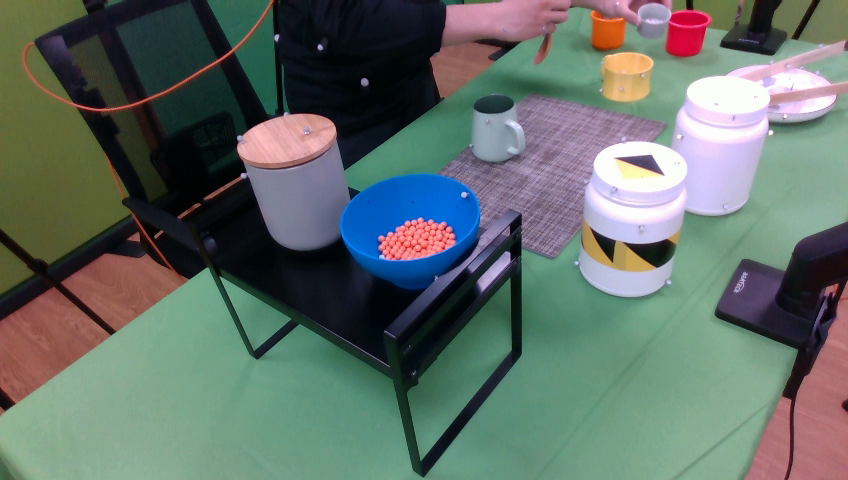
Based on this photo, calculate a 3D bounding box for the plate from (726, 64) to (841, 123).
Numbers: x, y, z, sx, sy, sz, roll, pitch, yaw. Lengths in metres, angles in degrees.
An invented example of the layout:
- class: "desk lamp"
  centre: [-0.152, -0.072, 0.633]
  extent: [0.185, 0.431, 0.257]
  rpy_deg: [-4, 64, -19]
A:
- class: "plate"
  centre: [0.694, -0.282, 1.189]
  extent: [0.207, 0.039, 0.206]
  rpy_deg: [-4, 40, 4]

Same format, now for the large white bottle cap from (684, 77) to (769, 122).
- class: "large white bottle cap"
  centre: [0.448, -0.209, 0.898]
  extent: [0.115, 0.018, 0.114]
  rpy_deg: [-4, 40, 4]

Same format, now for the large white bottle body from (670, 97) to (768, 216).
- class: "large white bottle body"
  centre: [0.458, -0.146, 0.952]
  extent: [0.130, 0.185, 0.130]
  rpy_deg: [-4, 40, 4]

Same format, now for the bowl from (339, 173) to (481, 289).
- class: "bowl"
  centre: [-0.011, 0.001, 0.660]
  extent: [0.151, 0.077, 0.150]
  rpy_deg: [-5, 41, 5]

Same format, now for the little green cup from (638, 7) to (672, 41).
- class: "little green cup"
  centre: [0.443, -0.415, 1.166]
  extent: [0.061, 0.039, 0.061]
  rpy_deg: [-4, 53, 6]

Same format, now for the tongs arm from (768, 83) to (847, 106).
- class: "tongs arm"
  centre: [0.738, -0.281, 1.134]
  extent: [0.388, 0.028, 0.028]
  rpy_deg: [-9, 47, -5]

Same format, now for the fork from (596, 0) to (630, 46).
- class: "fork"
  centre: [0.481, -0.556, 1.452]
  extent: [0.028, 0.019, 0.207]
  rpy_deg: [40, 103, 38]

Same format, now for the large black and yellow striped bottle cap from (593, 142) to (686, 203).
- class: "large black and yellow striped bottle cap"
  centre: [0.280, -0.090, 0.786]
  extent: [0.115, 0.019, 0.114]
  rpy_deg: [-5, 41, 5]

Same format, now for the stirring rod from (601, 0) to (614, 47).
- class: "stirring rod"
  centre: [0.439, -0.552, 1.463]
  extent: [0.014, 0.006, 0.175]
  rpy_deg: [-7, 83, 3]

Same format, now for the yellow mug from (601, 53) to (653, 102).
- class: "yellow mug"
  centre: [0.423, -0.354, 1.292]
  extent: [0.100, 0.064, 0.129]
  rpy_deg: [-23, 42, -16]

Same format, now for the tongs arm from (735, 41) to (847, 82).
- class: "tongs arm"
  centre: [0.712, -0.332, 1.194]
  extent: [0.386, 0.026, 0.050]
  rpy_deg: [-18, 45, -16]

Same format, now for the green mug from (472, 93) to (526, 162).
- class: "green mug"
  centre: [0.144, -0.202, 1.122]
  extent: [0.093, 0.105, 0.124]
  rpy_deg: [-29, 45, -23]

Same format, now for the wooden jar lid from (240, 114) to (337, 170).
- class: "wooden jar lid"
  centre: [-0.149, -0.106, 0.673]
  extent: [0.108, 0.021, 0.108]
  rpy_deg: [-6, 38, 5]

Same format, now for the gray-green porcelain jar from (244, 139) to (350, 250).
- class: "gray-green porcelain jar"
  centre: [-0.144, -0.060, 0.714]
  extent: [0.106, 0.127, 0.105]
  rpy_deg: [-4, 41, 4]

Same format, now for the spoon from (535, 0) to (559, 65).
- class: "spoon"
  centre: [0.225, -0.392, 1.040]
  extent: [0.022, 0.194, 0.041]
  rpy_deg: [7, 43, -3]

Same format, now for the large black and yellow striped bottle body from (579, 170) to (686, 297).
- class: "large black and yellow striped bottle body"
  centre: [0.287, -0.027, 0.841]
  extent: [0.131, 0.185, 0.130]
  rpy_deg: [-4, 40, 4]
